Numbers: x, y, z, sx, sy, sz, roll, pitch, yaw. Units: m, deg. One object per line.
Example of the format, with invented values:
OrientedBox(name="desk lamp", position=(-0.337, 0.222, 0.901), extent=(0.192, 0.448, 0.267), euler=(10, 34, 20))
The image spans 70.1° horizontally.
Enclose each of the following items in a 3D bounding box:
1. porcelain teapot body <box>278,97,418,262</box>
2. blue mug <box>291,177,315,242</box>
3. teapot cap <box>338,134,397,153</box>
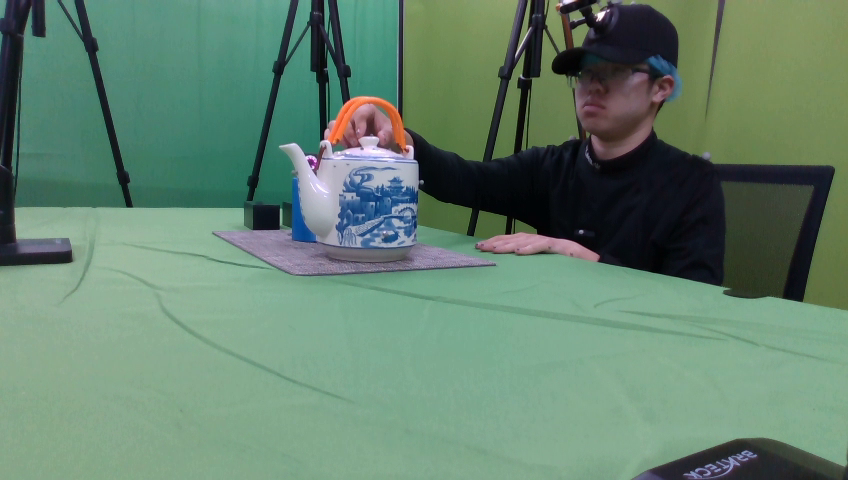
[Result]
OrientedBox(name="porcelain teapot body", position=(-0.104, -0.086, 0.842), extent=(0.206, 0.225, 0.144), euler=(-4, 9, -38))
OrientedBox(name="blue mug", position=(-0.169, -0.054, 1.038), extent=(0.117, 0.106, 0.082), euler=(-2, 8, -31))
OrientedBox(name="teapot cap", position=(-0.080, -0.127, 0.853), extent=(0.085, 0.044, 0.085), euler=(-1, 6, 0))
